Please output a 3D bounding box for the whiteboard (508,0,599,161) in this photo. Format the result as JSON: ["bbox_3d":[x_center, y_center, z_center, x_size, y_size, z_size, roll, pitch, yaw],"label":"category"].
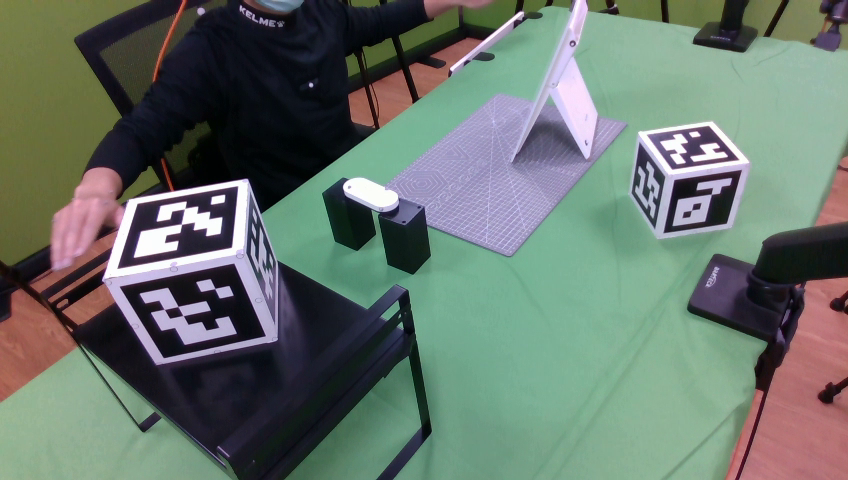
[{"bbox_3d":[0.285,-0.289,1.090,0.144,0.305,0.217,22,45,3],"label":"whiteboard"}]

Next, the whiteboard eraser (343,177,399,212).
[{"bbox_3d":[-0.081,-0.069,0.909,0.100,0.019,0.041,25,51,34],"label":"whiteboard eraser"}]
